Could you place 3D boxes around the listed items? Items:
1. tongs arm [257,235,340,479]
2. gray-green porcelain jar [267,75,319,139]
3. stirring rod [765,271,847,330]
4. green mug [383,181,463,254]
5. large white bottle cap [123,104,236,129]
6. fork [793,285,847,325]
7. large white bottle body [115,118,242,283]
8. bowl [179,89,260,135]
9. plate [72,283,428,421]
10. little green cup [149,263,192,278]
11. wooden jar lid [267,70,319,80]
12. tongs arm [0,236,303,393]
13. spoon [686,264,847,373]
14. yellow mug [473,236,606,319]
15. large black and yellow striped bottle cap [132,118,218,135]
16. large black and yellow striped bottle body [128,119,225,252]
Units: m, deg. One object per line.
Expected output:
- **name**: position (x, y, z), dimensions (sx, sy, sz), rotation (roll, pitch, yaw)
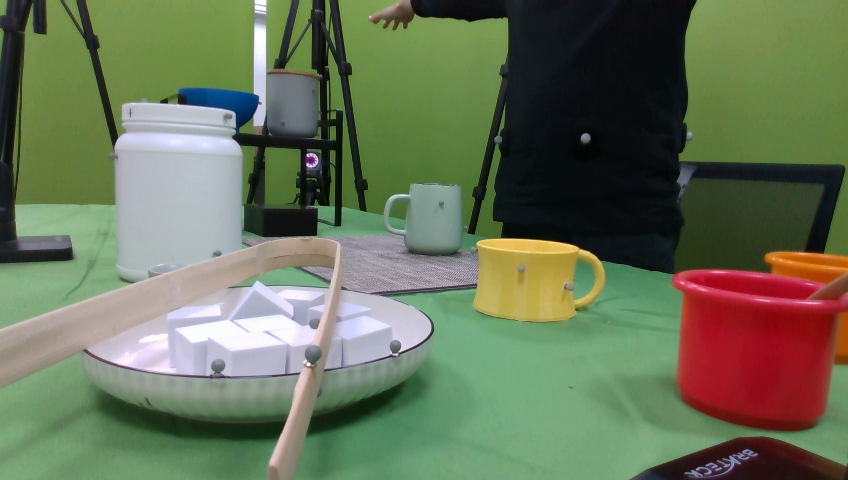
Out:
- **tongs arm**: position (-0.074, 0.039, 0.349), dimensions (0.051, 0.026, 0.384), rotation (-2, 9, -2)
- **gray-green porcelain jar**: position (-0.277, -0.279, 1.280), dimensions (0.106, 0.126, 0.106), rotation (2, 8, 0)
- **stirring rod**: position (0.352, 0.020, 0.481), dimensions (0.176, 0.006, 0.014), rotation (-40, -8, 17)
- **green mug**: position (-0.001, -0.036, 0.922), dimensions (0.126, 0.105, 0.092), rotation (0, 8, -16)
- **large white bottle cap**: position (-0.266, -0.134, 0.663), dimensions (0.115, 0.018, 0.115), rotation (3, 7, 0)
- **fork**: position (0.332, 0.019, 0.443), dimensions (0.028, 0.018, 0.207), rotation (-3, -35, -16)
- **large white bottle body**: position (-0.270, -0.051, 0.673), dimensions (0.131, 0.184, 0.130), rotation (2, 8, 0)
- **bowl**: position (-0.400, -0.248, 1.188), dimensions (0.151, 0.077, 0.151), rotation (2, 6, 0)
- **plate**: position (-0.102, 0.066, 0.381), dimensions (0.208, 0.039, 0.207), rotation (2, 7, 0)
- **little green cup**: position (-0.207, 0.043, 0.531), dimensions (0.061, 0.038, 0.061), rotation (3, 6, 0)
- **wooden jar lid**: position (-0.275, -0.339, 1.271), dimensions (0.108, 0.020, 0.108), rotation (5, 6, 0)
- **tongs arm**: position (-0.158, 0.038, 0.351), dimensions (0.028, 0.028, 0.388), rotation (-3, 8, 12)
- **spoon**: position (0.214, 0.032, 0.328), dimensions (0.042, 0.021, 0.193), rotation (-3, -35, -26)
- **yellow mug**: position (0.114, 0.034, 0.590), dimensions (0.131, 0.064, 0.100), rotation (2, 6, -7)
- **large black and yellow striped bottle cap**: position (-0.359, -0.164, 0.875), dimensions (0.115, 0.019, 0.115), rotation (2, 6, 0)
- **large black and yellow striped bottle body**: position (-0.361, -0.081, 0.887), dimensions (0.131, 0.184, 0.130), rotation (2, 8, 0)
